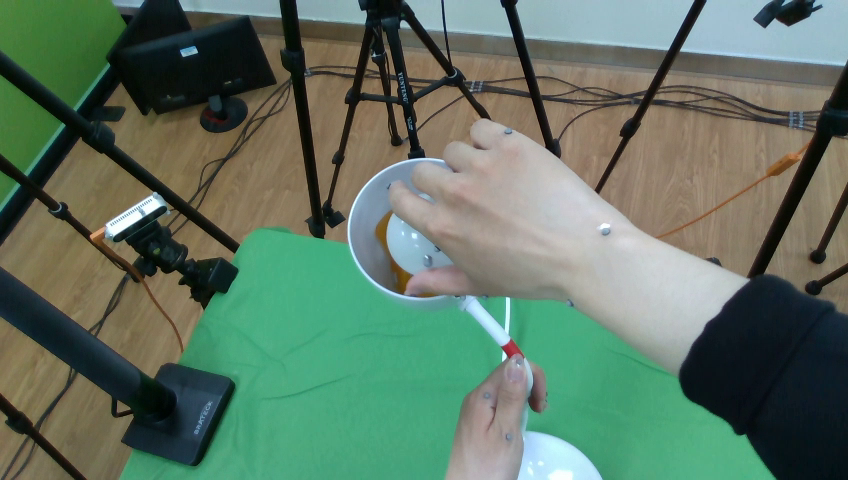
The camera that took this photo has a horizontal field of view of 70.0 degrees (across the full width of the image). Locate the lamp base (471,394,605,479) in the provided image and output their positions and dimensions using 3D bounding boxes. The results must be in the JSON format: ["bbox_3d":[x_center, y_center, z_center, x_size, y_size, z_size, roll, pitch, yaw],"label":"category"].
[{"bbox_3d":[0.118,0.248,0.648,0.161,0.182,0.177,-24,55,-8],"label":"lamp base"}]

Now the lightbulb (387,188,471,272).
[{"bbox_3d":[0.003,-0.003,0.453,0.059,0.108,0.059,0,79,-2],"label":"lightbulb"}]

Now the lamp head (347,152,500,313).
[{"bbox_3d":[0.006,0.008,0.485,0.112,0.124,0.111,-3,66,7],"label":"lamp head"}]
